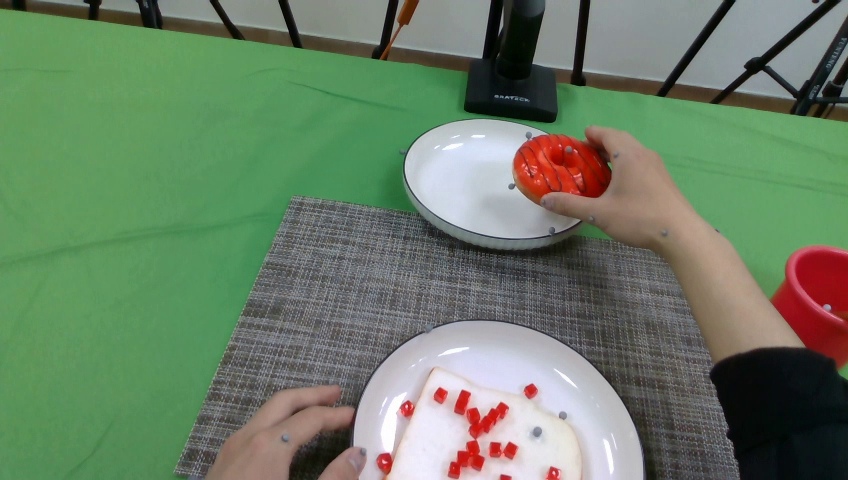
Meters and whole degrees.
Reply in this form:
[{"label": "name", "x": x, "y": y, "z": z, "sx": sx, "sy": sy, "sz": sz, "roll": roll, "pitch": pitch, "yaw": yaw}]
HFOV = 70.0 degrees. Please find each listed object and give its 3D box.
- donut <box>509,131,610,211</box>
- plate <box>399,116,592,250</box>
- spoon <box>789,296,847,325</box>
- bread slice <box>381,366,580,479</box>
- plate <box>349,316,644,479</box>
[{"label": "donut", "x": 0.131, "y": -0.067, "z": 0.590, "sx": 0.099, "sy": 0.048, "sz": 0.098, "roll": 5, "pitch": 45, "yaw": -5}, {"label": "plate", "x": 0.076, "y": -0.060, "z": 0.646, "sx": 0.208, "sy": 0.039, "sz": 0.205, "roll": 4, "pitch": 44, "yaw": -4}, {"label": "spoon", "x": 0.341, "y": 0.063, "z": 0.489, "sx": 0.041, "sy": 0.021, "sz": 0.194, "roll": 23, "pitch": 4, "yaw": 14}, {"label": "bread slice", "x": 0.047, "y": 0.152, "z": 0.440, "sx": 0.131, "sy": 0.019, "sz": 0.104, "roll": 16, "pitch": 47, "yaw": 10}, {"label": "plate", "x": 0.050, "y": 0.148, "z": 0.440, "sx": 0.209, "sy": 0.038, "sz": 0.207, "roll": 3, "pitch": 46, "yaw": -3}]
